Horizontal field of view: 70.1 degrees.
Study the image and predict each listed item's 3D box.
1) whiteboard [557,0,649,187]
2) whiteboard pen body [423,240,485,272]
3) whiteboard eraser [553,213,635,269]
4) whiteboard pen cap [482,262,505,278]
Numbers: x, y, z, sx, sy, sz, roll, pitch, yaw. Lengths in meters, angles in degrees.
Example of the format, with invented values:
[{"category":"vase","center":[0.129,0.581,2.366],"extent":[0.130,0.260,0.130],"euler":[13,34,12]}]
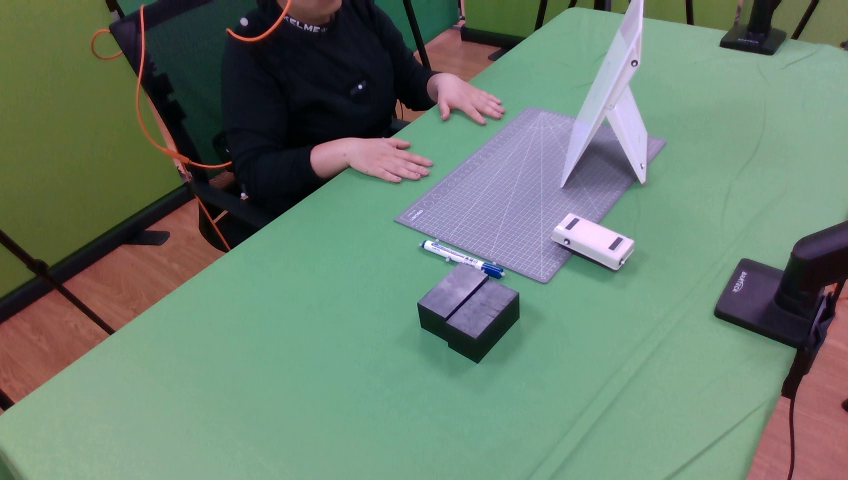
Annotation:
[{"category":"whiteboard","center":[0.361,-0.238,1.026],"extent":[0.144,0.306,0.217],"euler":[21,45,4]},{"category":"whiteboard pen body","center":[0.057,0.027,0.942],"extent":[0.139,0.017,0.017],"euler":[21,48,30]},{"category":"whiteboard eraser","center":[0.257,0.003,0.918],"extent":[0.112,0.042,0.056],"euler":[27,49,30]},{"category":"whiteboard pen cap","center":[0.104,0.044,0.912],"extent":[0.033,0.018,0.018],"euler":[22,49,29]}]
